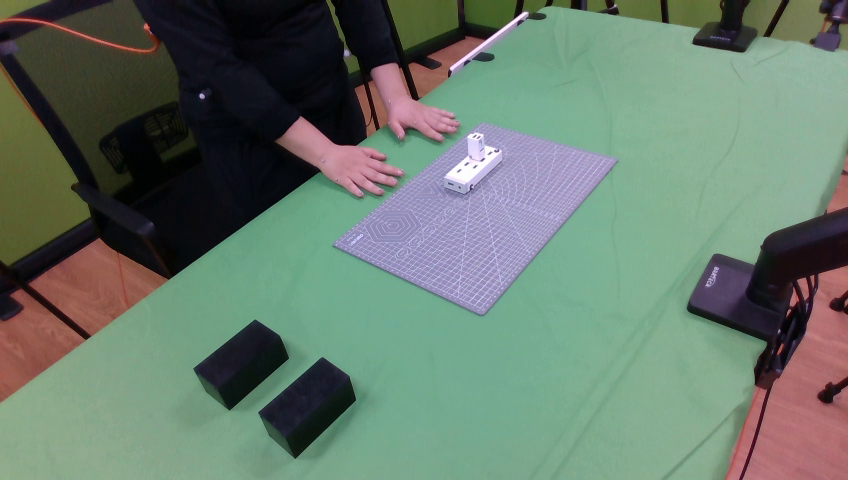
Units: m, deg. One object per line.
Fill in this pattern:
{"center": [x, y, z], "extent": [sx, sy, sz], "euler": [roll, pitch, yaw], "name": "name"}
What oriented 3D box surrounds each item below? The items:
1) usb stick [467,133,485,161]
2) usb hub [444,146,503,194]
{"center": [0.095, -0.162, 1.096], "extent": [0.027, 0.059, 0.021], "euler": [21, 48, 27], "name": "usb stick"}
{"center": [0.091, -0.129, 1.102], "extent": [0.049, 0.025, 0.125], "euler": [23, 49, 30], "name": "usb hub"}
